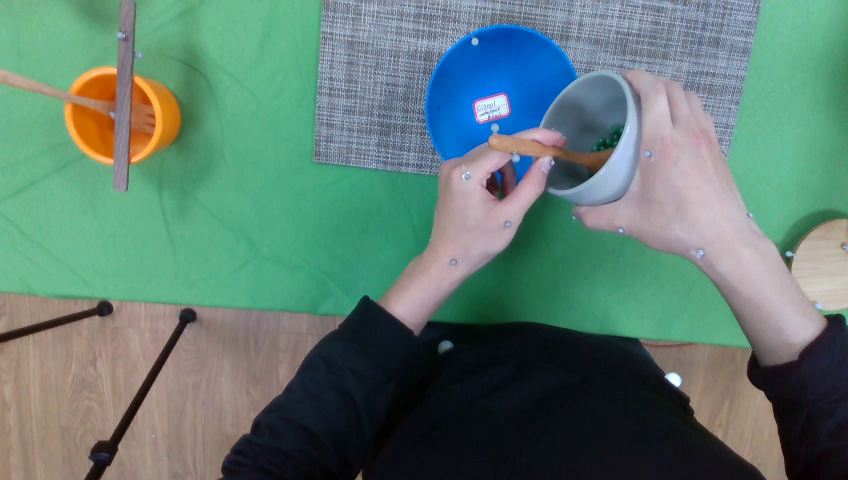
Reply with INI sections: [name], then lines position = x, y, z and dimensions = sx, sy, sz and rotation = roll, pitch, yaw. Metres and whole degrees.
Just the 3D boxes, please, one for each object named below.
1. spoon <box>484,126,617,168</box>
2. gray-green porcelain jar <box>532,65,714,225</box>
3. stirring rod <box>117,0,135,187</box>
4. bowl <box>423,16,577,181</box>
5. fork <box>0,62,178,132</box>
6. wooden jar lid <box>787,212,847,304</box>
[spoon]
position = 0.118, -0.076, 0.502
dimensions = 0.195, 0.021, 0.042
rotation = 1, 118, -37
[gray-green porcelain jar]
position = 0.175, -0.075, 0.521
dimensions = 0.127, 0.104, 0.106
rotation = 18, 104, -31
[stirring rod]
position = -0.275, -0.136, 0.559
dimensions = 0.014, 0.006, 0.177
rotation = 7, 104, -2
[bowl]
position = 0.073, -0.138, 0.606
dimensions = 0.151, 0.076, 0.152
rotation = 0, 105, -2
[fork]
position = -0.329, -0.139, 0.559
dimensions = 0.209, 0.018, 0.028
rotation = 13, 111, -50
[wooden jar lid]
position = 0.468, 0.020, 0.696
dimensions = 0.108, 0.020, 0.109
rotation = 0, 105, -1
